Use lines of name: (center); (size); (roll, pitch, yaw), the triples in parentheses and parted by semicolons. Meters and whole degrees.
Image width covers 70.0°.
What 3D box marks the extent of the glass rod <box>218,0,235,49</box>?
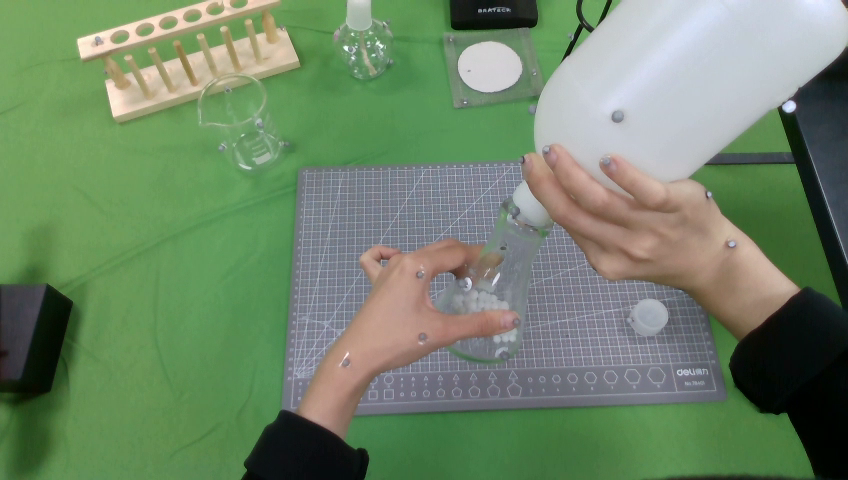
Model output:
glass rod: (-0.246, -0.302, 0.720); (0.008, 0.201, 0.008); (2, 62, -4)

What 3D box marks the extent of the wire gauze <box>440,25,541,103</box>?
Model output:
wire gauze: (0.088, -0.238, 0.805); (0.121, 0.011, 0.124); (-6, 64, -4)

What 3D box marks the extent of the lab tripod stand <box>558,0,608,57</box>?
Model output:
lab tripod stand: (0.216, -0.232, 0.732); (0.148, 0.132, 0.147); (1, 63, -1)

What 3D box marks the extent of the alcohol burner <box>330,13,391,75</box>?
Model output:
alcohol burner: (-0.081, -0.267, 0.761); (0.078, 0.120, 0.077); (0, 62, 0)

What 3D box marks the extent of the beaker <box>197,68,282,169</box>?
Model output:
beaker: (-0.213, -0.135, 0.706); (0.084, 0.101, 0.073); (-42, 70, -17)

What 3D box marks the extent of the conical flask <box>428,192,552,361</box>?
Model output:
conical flask: (0.053, 0.024, 0.439); (0.075, 0.122, 0.074); (13, 37, -9)

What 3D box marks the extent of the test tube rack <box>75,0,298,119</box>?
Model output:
test tube rack: (-0.292, -0.240, 0.765); (0.242, 0.086, 0.066); (-20, 66, -10)

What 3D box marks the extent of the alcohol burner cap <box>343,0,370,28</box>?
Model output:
alcohol burner cap: (-0.081, -0.285, 0.730); (0.034, 0.048, 0.033); (4, 62, -7)

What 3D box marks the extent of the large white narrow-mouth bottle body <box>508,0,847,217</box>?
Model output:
large white narrow-mouth bottle body: (0.126, -0.083, 0.354); (0.102, 0.195, 0.101); (31, 34, -24)

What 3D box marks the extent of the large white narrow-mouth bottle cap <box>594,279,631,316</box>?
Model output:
large white narrow-mouth bottle cap: (0.203, 0.062, 0.652); (0.038, 0.024, 0.037); (-1, 63, 2)
